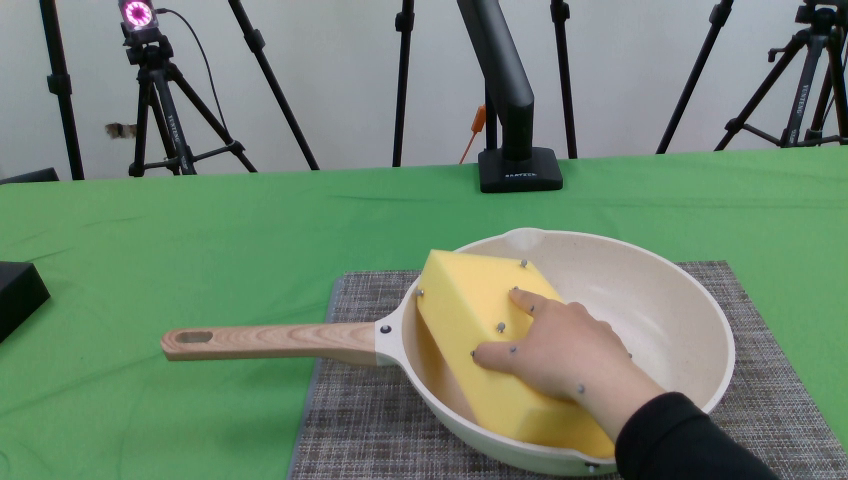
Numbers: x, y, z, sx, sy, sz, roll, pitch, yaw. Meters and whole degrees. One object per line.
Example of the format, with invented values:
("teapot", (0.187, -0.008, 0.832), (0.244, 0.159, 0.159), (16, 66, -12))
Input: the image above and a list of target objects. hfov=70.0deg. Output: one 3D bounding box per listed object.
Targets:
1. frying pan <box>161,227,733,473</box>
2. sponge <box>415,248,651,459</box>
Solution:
("frying pan", (0.017, 0.090, 0.551), (0.489, 0.103, 0.304), (2, 32, -5))
("sponge", (0.083, 0.092, 0.538), (0.119, 0.061, 0.204), (7, 28, -28))
